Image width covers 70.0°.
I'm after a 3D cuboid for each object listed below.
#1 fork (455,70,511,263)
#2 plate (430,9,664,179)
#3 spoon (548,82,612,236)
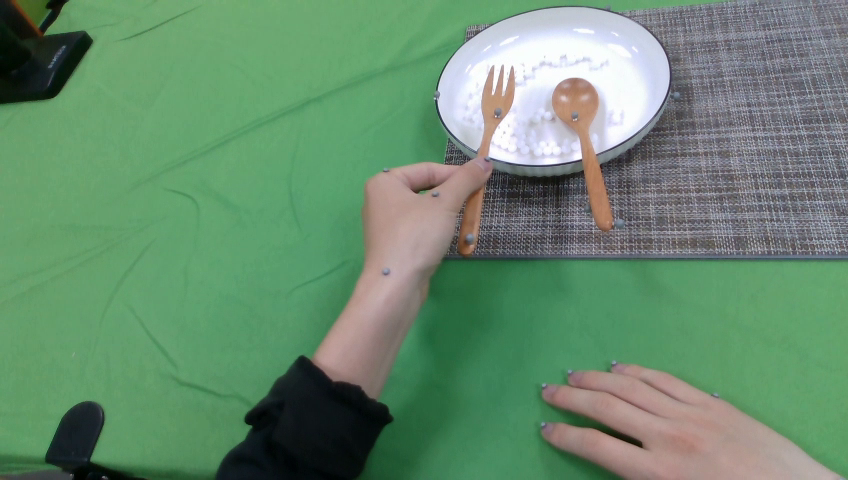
[{"bbox_3d":[0.046,-0.067,0.477,0.028,0.019,0.205,10,51,6],"label":"fork"},{"bbox_3d":[0.110,-0.133,0.559,0.207,0.039,0.205,-7,54,10],"label":"plate"},{"bbox_3d":[0.128,-0.073,0.491,0.041,0.022,0.192,-7,41,11],"label":"spoon"}]
